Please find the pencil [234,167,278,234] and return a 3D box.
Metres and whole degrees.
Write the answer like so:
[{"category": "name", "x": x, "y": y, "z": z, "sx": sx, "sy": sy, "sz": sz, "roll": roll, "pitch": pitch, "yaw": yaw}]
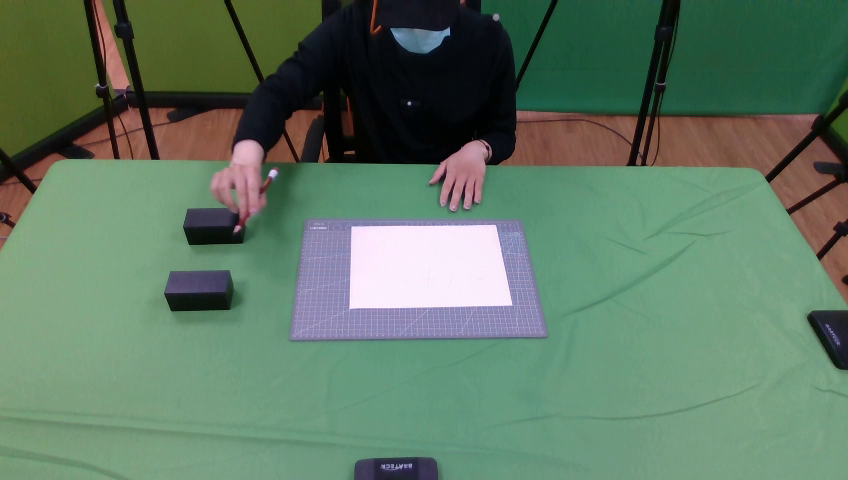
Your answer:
[{"category": "pencil", "x": -0.305, "y": -0.074, "z": 1.099, "sx": 0.012, "sy": 0.012, "sz": 0.193, "roll": 10, "pitch": 44, "yaw": 6}]
